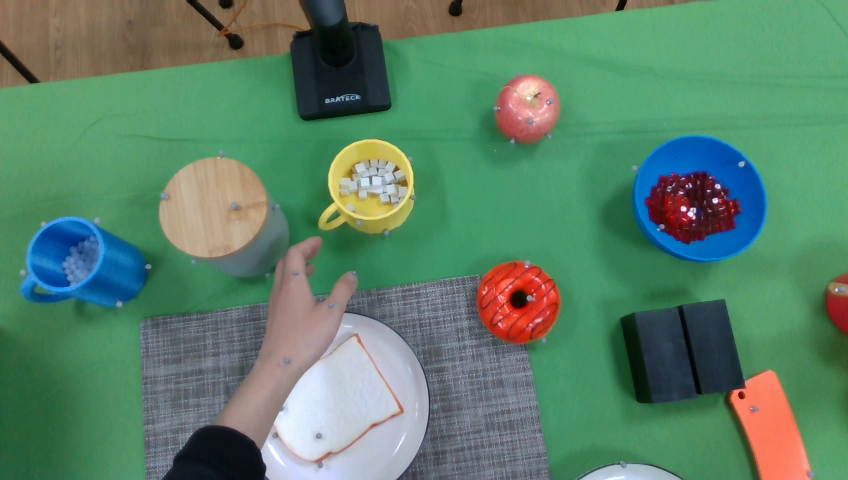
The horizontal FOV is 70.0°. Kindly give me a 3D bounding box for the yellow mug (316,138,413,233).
[{"bbox_3d":[-0.076,-0.055,0.727,0.131,0.064,0.099,-38,80,-8],"label":"yellow mug"}]

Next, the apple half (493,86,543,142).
[{"bbox_3d":[0.107,-0.145,0.745,0.033,0.081,0.081,-40,80,-14],"label":"apple half"}]

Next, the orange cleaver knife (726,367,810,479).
[{"bbox_3d":[0.398,0.253,0.685,0.077,0.012,0.210,-5,75,-8],"label":"orange cleaver knife"}]

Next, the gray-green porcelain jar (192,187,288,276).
[{"bbox_3d":[-0.215,-0.018,0.686,0.106,0.127,0.105,0,76,0],"label":"gray-green porcelain jar"}]

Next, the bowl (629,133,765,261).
[{"bbox_3d":[0.311,-0.042,0.722,0.151,0.077,0.150,0,77,0],"label":"bowl"}]

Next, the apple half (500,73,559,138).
[{"bbox_3d":[0.136,-0.170,0.753,0.053,0.075,0.080,-39,76,-14],"label":"apple half"}]

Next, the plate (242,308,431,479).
[{"bbox_3d":[-0.096,0.182,0.683,0.208,0.039,0.206,0,77,0],"label":"plate"}]

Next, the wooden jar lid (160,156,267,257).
[{"bbox_3d":[-0.215,-0.033,0.626,0.108,0.021,0.108,0,75,0],"label":"wooden jar lid"}]

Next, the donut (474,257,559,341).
[{"bbox_3d":[0.107,0.069,0.707,0.099,0.048,0.098,0,77,-1],"label":"donut"}]

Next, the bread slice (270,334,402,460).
[{"bbox_3d":[-0.105,0.184,0.683,0.131,0.019,0.104,-33,79,-9],"label":"bread slice"}]

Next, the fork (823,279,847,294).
[{"bbox_3d":[0.480,0.059,0.665,0.209,0.018,0.028,11,73,-41],"label":"fork"}]

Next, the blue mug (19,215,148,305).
[{"bbox_3d":[-0.390,0.034,0.682,0.116,0.106,0.082,-33,79,-8],"label":"blue mug"}]

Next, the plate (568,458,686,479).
[{"bbox_3d":[0.221,0.342,0.652,0.209,0.038,0.208,0,77,0],"label":"plate"}]
